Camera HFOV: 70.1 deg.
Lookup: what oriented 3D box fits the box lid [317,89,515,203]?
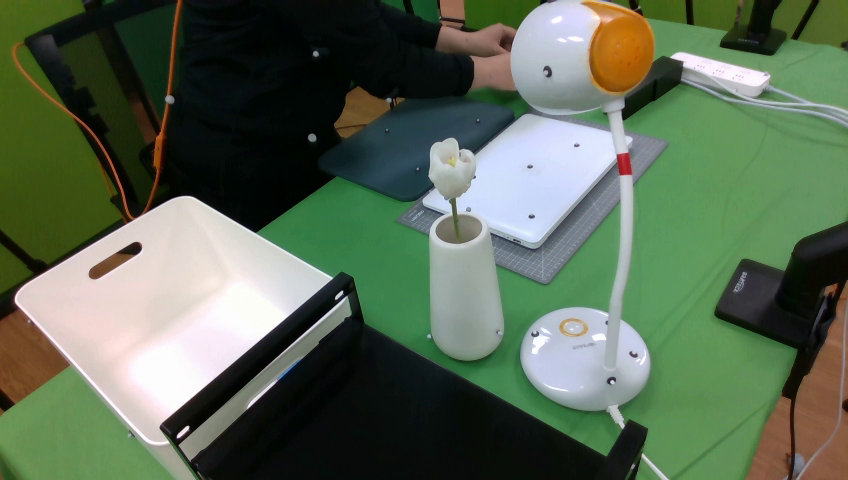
[{"bbox_3d":[-0.009,-0.207,1.235,0.261,0.015,0.372,23,49,32],"label":"box lid"}]

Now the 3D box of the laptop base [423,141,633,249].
[{"bbox_3d":[0.194,-0.117,1.087,0.233,0.023,0.355,21,48,34],"label":"laptop base"}]

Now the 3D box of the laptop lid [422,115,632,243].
[{"bbox_3d":[0.190,-0.126,1.081,0.239,0.013,0.358,23,48,34],"label":"laptop lid"}]

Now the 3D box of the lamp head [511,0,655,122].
[{"bbox_3d":[0.155,-0.168,0.563,0.113,0.113,0.122,-18,23,-12],"label":"lamp head"}]

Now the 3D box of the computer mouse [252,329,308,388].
[{"bbox_3d":[-0.168,0.161,0.790,0.116,0.041,0.063,31,50,27],"label":"computer mouse"}]

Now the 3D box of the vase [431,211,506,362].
[{"bbox_3d":[0.054,0.062,0.757,0.098,0.201,0.097,-3,40,3],"label":"vase"}]

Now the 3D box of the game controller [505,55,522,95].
[{"bbox_3d":[0.230,-0.369,1.286,0.097,0.052,0.154,-6,44,2],"label":"game controller"}]

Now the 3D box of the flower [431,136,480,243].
[{"bbox_3d":[0.041,0.011,0.691,0.044,0.363,0.038,16,62,14],"label":"flower"}]

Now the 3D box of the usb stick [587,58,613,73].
[{"bbox_3d":[0.401,-0.399,1.381,0.059,0.027,0.021,0,49,21],"label":"usb stick"}]

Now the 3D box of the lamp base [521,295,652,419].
[{"bbox_3d":[0.201,0.095,0.710,0.161,0.181,0.177,-16,43,-10],"label":"lamp base"}]

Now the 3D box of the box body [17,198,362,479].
[{"bbox_3d":[-0.285,0.123,0.766,0.361,0.161,0.255,25,49,33],"label":"box body"}]

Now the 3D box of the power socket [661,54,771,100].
[{"bbox_3d":[0.615,-0.348,1.285,0.072,0.033,0.225,-36,48,-29],"label":"power socket"}]

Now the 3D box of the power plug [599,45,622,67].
[{"bbox_3d":[0.438,-0.423,1.412,0.053,0.035,0.072,-19,73,-46],"label":"power plug"}]
